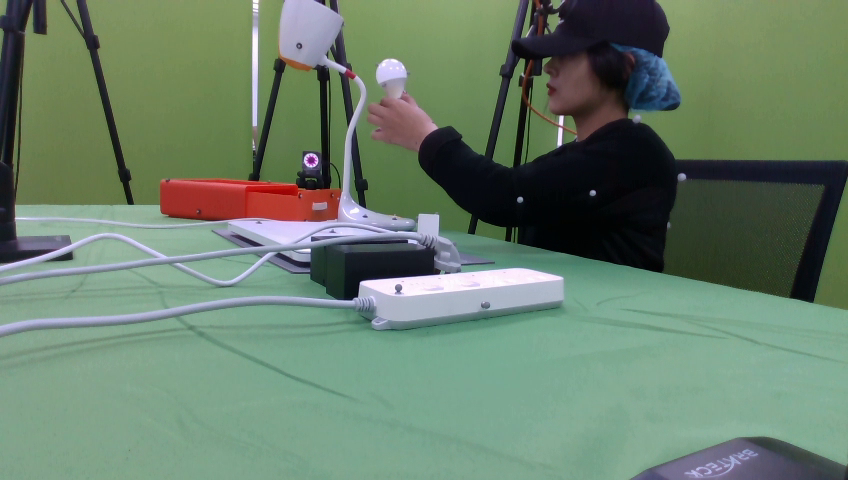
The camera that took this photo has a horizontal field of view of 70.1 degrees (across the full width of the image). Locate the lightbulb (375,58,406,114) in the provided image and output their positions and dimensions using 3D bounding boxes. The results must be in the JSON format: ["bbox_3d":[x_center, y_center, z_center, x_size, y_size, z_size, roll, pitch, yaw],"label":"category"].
[{"bbox_3d":[-0.060,-0.301,1.185,0.059,0.107,0.059,-13,6,2],"label":"lightbulb"}]

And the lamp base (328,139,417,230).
[{"bbox_3d":[-0.104,-0.113,1.212,0.180,0.180,0.160,-2,7,-14],"label":"lamp base"}]

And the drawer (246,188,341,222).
[{"bbox_3d":[-0.312,-0.078,1.296,0.211,0.073,0.195,4,9,17],"label":"drawer"}]

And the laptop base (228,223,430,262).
[{"bbox_3d":[-0.145,0.002,0.943,0.237,0.023,0.352,1,6,-32],"label":"laptop base"}]

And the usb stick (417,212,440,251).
[{"bbox_3d":[0.005,-0.003,0.721,0.027,0.059,0.021,0,-3,-3],"label":"usb stick"}]

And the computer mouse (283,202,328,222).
[{"bbox_3d":[-0.251,-0.060,1.287,0.063,0.041,0.117,3,4,11],"label":"computer mouse"}]

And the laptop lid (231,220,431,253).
[{"bbox_3d":[-0.142,-0.009,0.942,0.243,0.013,0.355,1,7,-31],"label":"laptop lid"}]

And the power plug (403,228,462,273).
[{"bbox_3d":[0.006,0.016,0.647,0.073,0.052,0.035,17,12,-6],"label":"power plug"}]

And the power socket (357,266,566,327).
[{"bbox_3d":[0.042,0.049,0.573,0.228,0.032,0.072,-3,8,-34],"label":"power socket"}]

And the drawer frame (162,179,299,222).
[{"bbox_3d":[-0.418,-0.089,1.329,0.213,0.082,0.202,4,8,18],"label":"drawer frame"}]

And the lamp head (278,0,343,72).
[{"bbox_3d":[-0.218,-0.376,1.125,0.112,0.123,0.112,17,10,-3],"label":"lamp head"}]
